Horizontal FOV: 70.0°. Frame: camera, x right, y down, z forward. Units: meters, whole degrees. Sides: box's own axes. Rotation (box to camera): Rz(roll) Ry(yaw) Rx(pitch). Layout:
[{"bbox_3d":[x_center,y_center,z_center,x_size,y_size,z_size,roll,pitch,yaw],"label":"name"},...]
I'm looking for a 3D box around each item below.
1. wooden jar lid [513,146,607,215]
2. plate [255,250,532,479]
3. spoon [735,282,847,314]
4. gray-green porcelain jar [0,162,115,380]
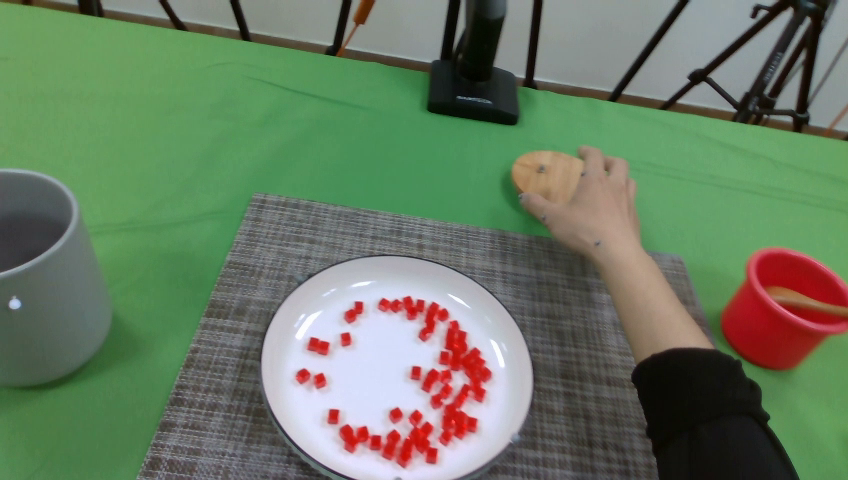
[{"bbox_3d":[0.153,-0.067,0.687,0.108,0.021,0.107,7,46,-7],"label":"wooden jar lid"},{"bbox_3d":[-0.022,0.095,0.470,0.208,0.039,0.205,7,45,-6],"label":"plate"},{"bbox_3d":[0.359,0.055,0.517,0.042,0.022,0.192,-12,10,-29],"label":"spoon"},{"bbox_3d":[-0.281,0.028,0.420,0.106,0.127,0.105,7,45,-6],"label":"gray-green porcelain jar"}]
